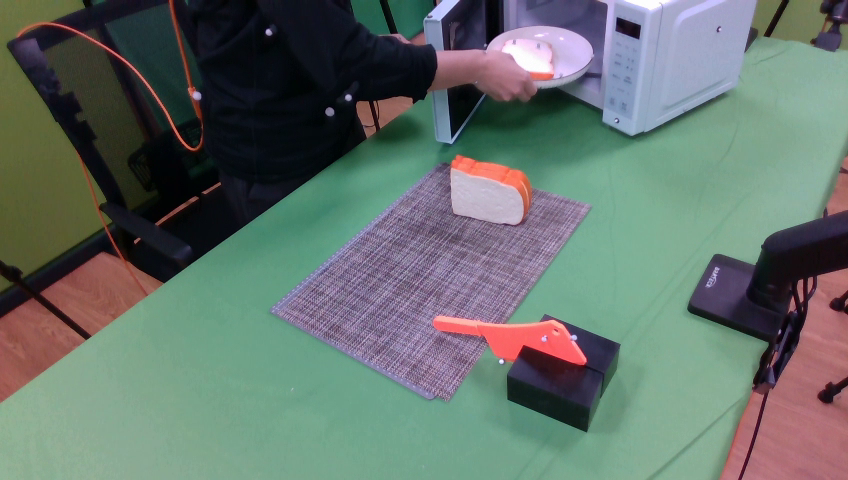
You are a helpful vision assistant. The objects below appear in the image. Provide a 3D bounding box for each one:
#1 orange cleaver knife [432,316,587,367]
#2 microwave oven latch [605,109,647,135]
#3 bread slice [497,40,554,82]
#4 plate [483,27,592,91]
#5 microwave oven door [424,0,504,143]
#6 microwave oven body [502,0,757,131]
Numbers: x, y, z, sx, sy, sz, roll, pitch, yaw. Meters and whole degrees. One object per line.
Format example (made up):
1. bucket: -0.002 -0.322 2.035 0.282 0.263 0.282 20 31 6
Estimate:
1. orange cleaver knife: 0.101 0.127 0.761 0.210 0.077 0.012 -1 34 40
2. microwave oven latch: 0.379 -0.225 1.139 0.030 0.029 0.078 -26 43 -19
3. bread slice: 0.197 -0.352 1.186 0.107 0.018 0.134 4 48 5
4. plate: 0.220 -0.348 1.179 0.207 0.039 0.206 -2 46 3
5. microwave oven door: 0.093 -0.392 1.218 0.039 0.245 0.356 11 44 21
6. microwave oven body: 0.396 -0.448 1.248 0.327 0.261 0.437 -27 44 -21
